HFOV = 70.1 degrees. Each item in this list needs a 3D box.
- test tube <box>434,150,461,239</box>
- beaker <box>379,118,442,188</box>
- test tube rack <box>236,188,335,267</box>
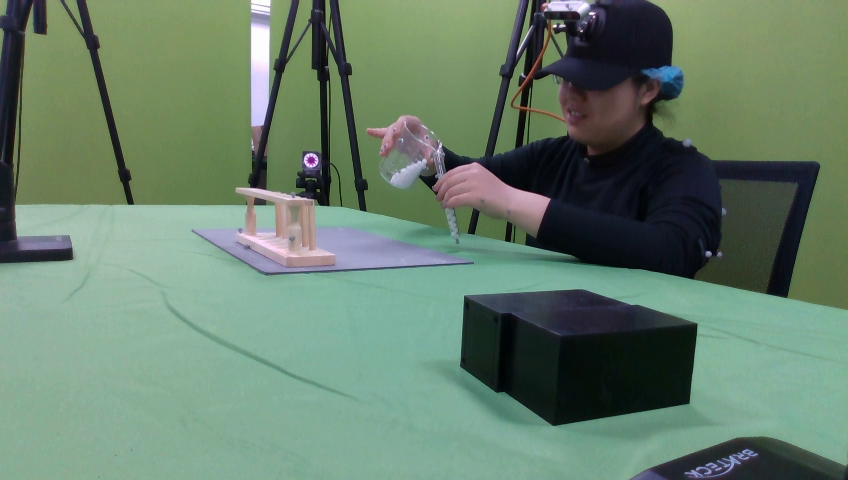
[{"bbox_3d":[0.039,-0.075,0.994,0.017,0.150,0.017,-12,-3,0],"label":"test tube"},{"bbox_3d":[-0.024,-0.143,1.028,0.084,0.100,0.074,44,29,14],"label":"beaker"},{"bbox_3d":[-0.202,-0.024,0.855,0.067,0.085,0.241,-2,8,-31],"label":"test tube rack"}]
